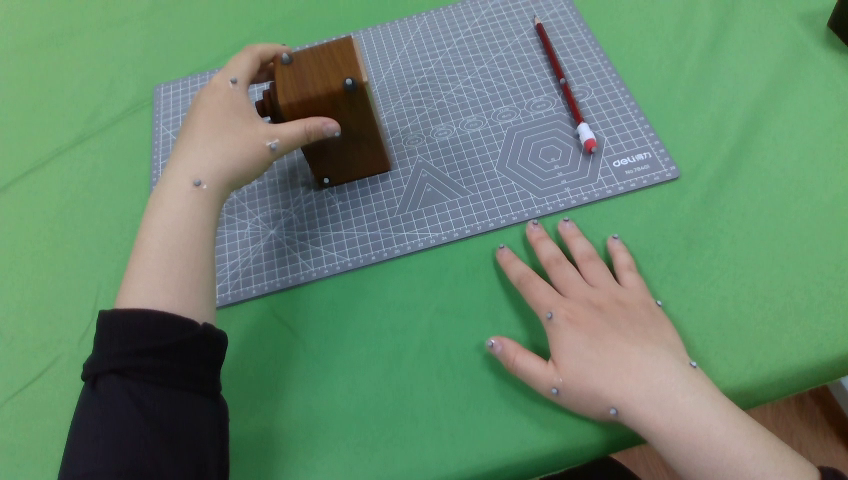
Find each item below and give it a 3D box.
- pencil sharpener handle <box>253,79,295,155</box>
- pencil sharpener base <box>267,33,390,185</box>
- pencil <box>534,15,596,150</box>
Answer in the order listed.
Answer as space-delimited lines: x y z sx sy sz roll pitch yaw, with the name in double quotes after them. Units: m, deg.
-0.129 -0.097 0.500 0.030 0.068 0.035 -16 52 0 "pencil sharpener handle"
-0.078 -0.106 0.511 0.077 0.108 0.060 -16 56 0 "pencil sharpener base"
0.127 -0.155 0.567 0.012 0.012 0.192 -12 54 2 "pencil"
